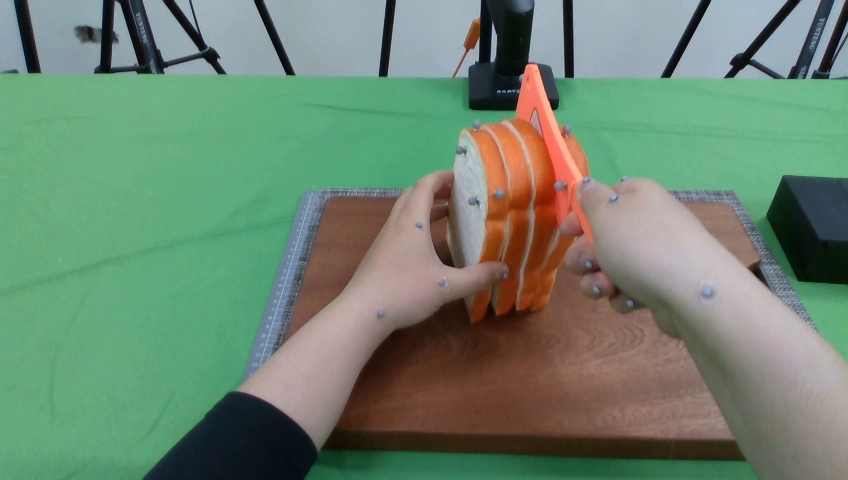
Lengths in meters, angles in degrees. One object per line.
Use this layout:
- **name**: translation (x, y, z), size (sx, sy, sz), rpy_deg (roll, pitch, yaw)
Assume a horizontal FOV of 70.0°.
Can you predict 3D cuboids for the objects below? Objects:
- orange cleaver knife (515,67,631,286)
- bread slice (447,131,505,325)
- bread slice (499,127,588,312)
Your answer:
- **orange cleaver knife**: translation (0.094, -0.041, 0.418), size (0.012, 0.078, 0.209), rpy_deg (-11, 49, -2)
- **bread slice**: translation (0.040, -0.018, 0.481), size (0.018, 0.135, 0.106), rpy_deg (-6, 38, -10)
- **bread slice**: translation (0.089, -0.023, 0.486), size (0.019, 0.132, 0.103), rpy_deg (2, 40, -19)
